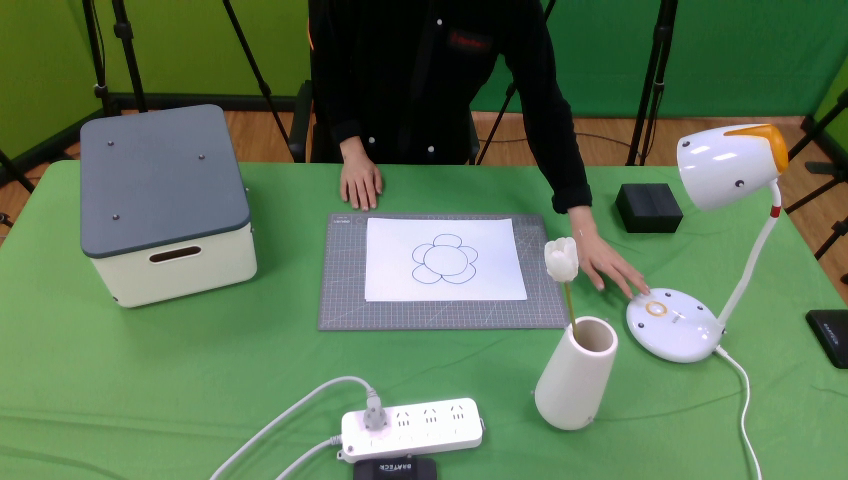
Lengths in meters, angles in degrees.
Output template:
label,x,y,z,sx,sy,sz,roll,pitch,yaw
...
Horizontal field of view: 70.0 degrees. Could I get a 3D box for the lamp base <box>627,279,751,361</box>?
label,x,y,z,sx,sy,sz,roll,pitch,yaw
lamp base,0.460,0.100,1.027,0.178,0.181,0.160,27,51,17

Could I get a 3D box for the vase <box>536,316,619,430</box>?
label,x,y,z,sx,sy,sz,roll,pitch,yaw
vase,0.229,0.200,0.901,0.098,0.201,0.097,3,46,-3

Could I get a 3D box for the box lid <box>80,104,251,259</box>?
label,x,y,z,sx,sy,sz,roll,pitch,yaw
box lid,-0.467,-0.120,1.076,0.264,0.015,0.369,-13,49,-17

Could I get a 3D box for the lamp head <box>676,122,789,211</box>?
label,x,y,z,sx,sy,sz,roll,pitch,yaw
lamp head,0.423,-0.104,0.819,0.122,0.113,0.112,-13,33,40

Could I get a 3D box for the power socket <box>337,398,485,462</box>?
label,x,y,z,sx,sy,sz,roll,pitch,yaw
power socket,-0.018,0.285,0.914,0.227,0.033,0.071,-4,46,-8

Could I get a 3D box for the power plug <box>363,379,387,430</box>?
label,x,y,z,sx,sy,sz,roll,pitch,yaw
power plug,-0.071,0.252,0.911,0.035,0.053,0.072,3,40,0

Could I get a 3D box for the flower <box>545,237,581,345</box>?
label,x,y,z,sx,sy,sz,roll,pitch,yaw
flower,0.213,0.137,0.846,0.038,0.364,0.044,21,55,39

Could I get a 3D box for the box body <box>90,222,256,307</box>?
label,x,y,z,sx,sy,sz,roll,pitch,yaw
box body,-0.471,-0.070,1.131,0.254,0.161,0.361,-14,49,-17
